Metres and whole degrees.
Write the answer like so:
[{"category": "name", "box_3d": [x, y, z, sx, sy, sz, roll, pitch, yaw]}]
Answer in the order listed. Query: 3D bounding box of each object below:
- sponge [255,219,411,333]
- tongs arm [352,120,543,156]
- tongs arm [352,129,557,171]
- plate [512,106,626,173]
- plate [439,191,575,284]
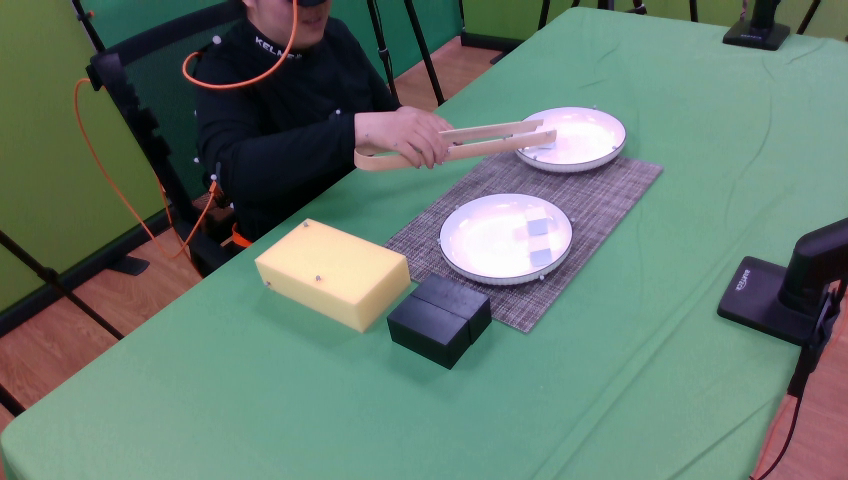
[{"category": "sponge", "box_3d": [-0.139, 0.048, 0.922, 0.205, 0.061, 0.118, 19, 47, 30]}, {"category": "tongs arm", "box_3d": [0.051, -0.179, 1.071, 0.390, 0.028, 0.028, -12, 42, -24]}, {"category": "tongs arm", "box_3d": [0.064, -0.163, 1.049, 0.387, 0.026, 0.050, -14, 39, -25]}, {"category": "plate", "box_3d": [0.269, -0.185, 1.132, 0.209, 0.038, 0.208, -5, 40, 5]}, {"category": "plate", "box_3d": [0.129, -0.002, 0.942, 0.207, 0.039, 0.206, -5, 40, 5]}]
